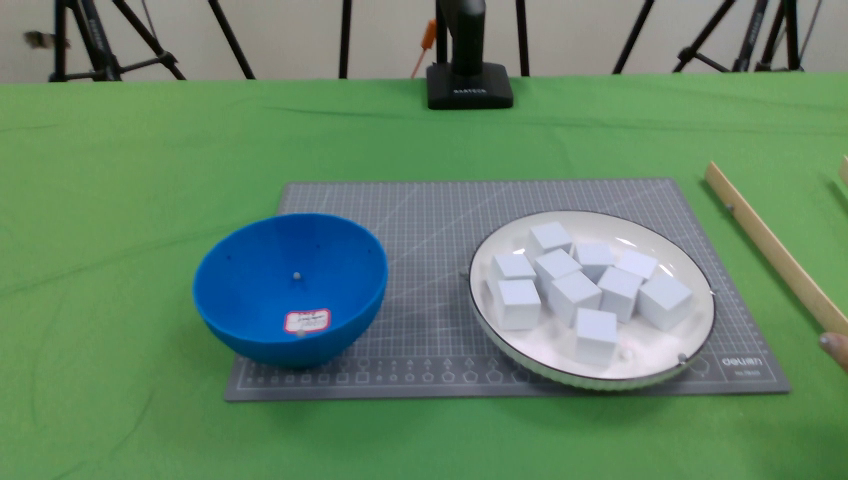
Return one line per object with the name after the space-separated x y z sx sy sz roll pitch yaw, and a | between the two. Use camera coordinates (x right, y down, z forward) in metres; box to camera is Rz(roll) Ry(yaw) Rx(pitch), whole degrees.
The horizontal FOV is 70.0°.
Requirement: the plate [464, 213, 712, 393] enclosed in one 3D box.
0.139 0.052 0.532 0.208 0.039 0.205 0 40 0 | plate

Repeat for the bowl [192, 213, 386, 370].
-0.104 0.053 0.499 0.151 0.077 0.150 0 40 0 | bowl

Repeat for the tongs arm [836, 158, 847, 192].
0.436 0.039 0.554 0.051 0.027 0.381 3 41 5 | tongs arm

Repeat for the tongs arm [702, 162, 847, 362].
0.354 0.041 0.557 0.028 0.028 0.383 -3 40 -8 | tongs arm
